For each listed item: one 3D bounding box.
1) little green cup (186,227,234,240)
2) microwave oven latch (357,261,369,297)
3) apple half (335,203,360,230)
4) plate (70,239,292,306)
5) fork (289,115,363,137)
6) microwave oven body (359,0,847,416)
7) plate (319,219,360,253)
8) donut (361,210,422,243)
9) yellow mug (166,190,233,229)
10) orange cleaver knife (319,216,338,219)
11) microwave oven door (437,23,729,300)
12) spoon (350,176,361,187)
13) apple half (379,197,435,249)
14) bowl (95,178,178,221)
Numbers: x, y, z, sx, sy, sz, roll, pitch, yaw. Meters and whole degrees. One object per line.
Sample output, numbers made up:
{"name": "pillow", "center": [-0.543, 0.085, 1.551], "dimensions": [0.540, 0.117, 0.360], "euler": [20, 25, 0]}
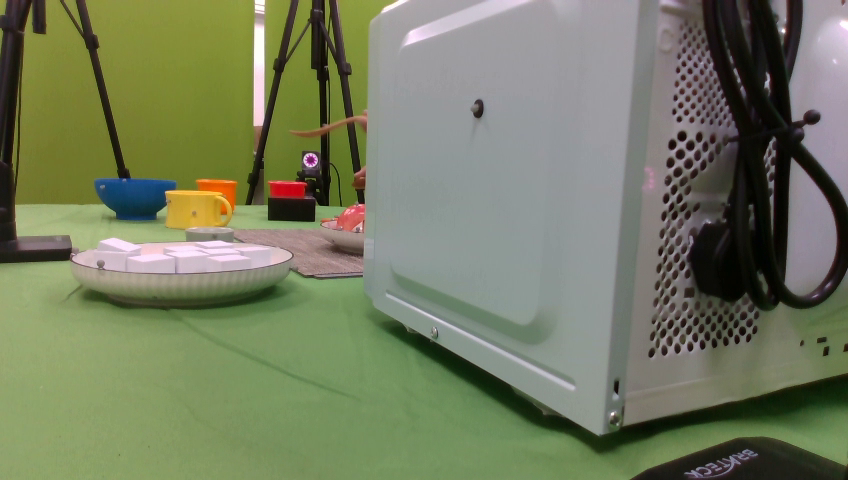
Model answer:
{"name": "little green cup", "center": [-0.285, 0.005, 0.805], "dimensions": [0.061, 0.038, 0.061], "euler": [2, 8, 0]}
{"name": "microwave oven latch", "center": [-0.019, 0.033, 0.530], "dimensions": [0.079, 0.029, 0.030], "euler": [-1, 7, -26]}
{"name": "apple half", "center": [-0.116, -0.038, 0.960], "dimensions": [0.081, 0.033, 0.081], "euler": [-37, 8, 7]}
{"name": "plate", "center": [-0.242, 0.032, 0.618], "dimensions": [0.208, 0.039, 0.207], "euler": [3, 8, 0]}
{"name": "fork", "center": [-0.124, -0.194, 1.003], "dimensions": [0.207, 0.018, 0.028], "euler": [-11, -7, 8]}
{"name": "microwave oven body", "center": [0.211, -0.047, 0.474], "dimensions": [0.444, 0.260, 0.324], "euler": [-1, 7, -28]}
{"name": "plate", "center": [-0.059, -0.007, 0.939], "dimensions": [0.209, 0.038, 0.209], "euler": [2, 8, 0]}
{"name": "donut", "center": [-0.051, -0.020, 0.959], "dimensions": [0.099, 0.048, 0.099], "euler": [6, 7, -1]}
{"name": "yellow mug", "center": [-0.415, -0.057, 1.132], "dimensions": [0.130, 0.064, 0.100], "euler": [6, 8, 16]}
{"name": "orange cleaver knife", "center": [-0.142, -0.057, 1.394], "dimensions": [0.077, 0.012, 0.212], "euler": [1, 6, 44]}
{"name": "microwave oven door", "center": [0.181, -0.072, 0.621], "dimensions": [0.358, 0.243, 0.039], "euler": [-2, 9, -29]}
{"name": "spoon", "center": [-0.127, -0.123, 1.232], "dimensions": [0.042, 0.021, 0.193], "euler": [-14, 10, -3]}
{"name": "apple half", "center": [-0.020, -0.030, 0.891], "dimensions": [0.081, 0.053, 0.074], "euler": [-3, 50, -26]}
{"name": "bowl", "center": [-0.576, -0.081, 1.217], "dimensions": [0.151, 0.077, 0.151], "euler": [3, 7, 0]}
